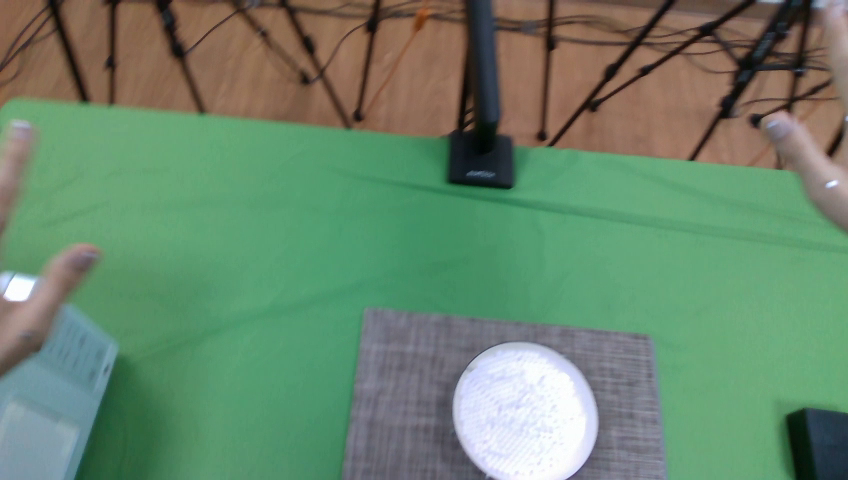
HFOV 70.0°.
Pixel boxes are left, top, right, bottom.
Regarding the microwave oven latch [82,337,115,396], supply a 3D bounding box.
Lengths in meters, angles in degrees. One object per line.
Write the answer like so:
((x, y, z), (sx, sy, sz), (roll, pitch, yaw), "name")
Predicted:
((-0.461, 0.176, 0.848), (0.030, 0.030, 0.078), (8, 62, 0), "microwave oven latch")

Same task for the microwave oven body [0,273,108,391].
((-0.618, 0.270, 0.678), (0.326, 0.262, 0.438), (6, 62, -1), "microwave oven body")

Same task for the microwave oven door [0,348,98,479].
((-0.477, 0.319, 0.656), (0.039, 0.245, 0.353), (5, 62, 0), "microwave oven door")

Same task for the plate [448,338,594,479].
((0.137, 0.244, 0.870), (0.209, 0.038, 0.207), (2, 62, -3), "plate")
